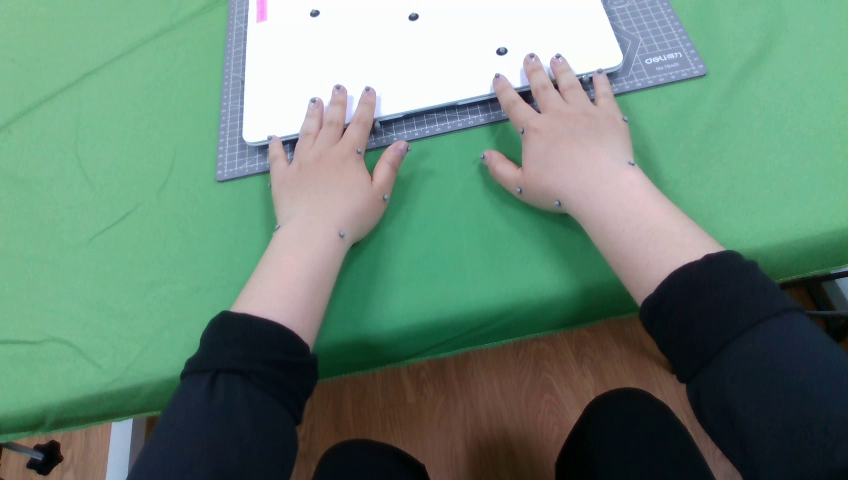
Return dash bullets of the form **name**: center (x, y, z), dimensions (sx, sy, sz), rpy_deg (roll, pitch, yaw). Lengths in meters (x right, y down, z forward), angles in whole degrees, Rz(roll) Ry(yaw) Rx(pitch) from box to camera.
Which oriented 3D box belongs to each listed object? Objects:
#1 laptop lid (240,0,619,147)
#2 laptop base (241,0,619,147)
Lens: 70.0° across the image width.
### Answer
- **laptop lid**: center (-0.012, -0.216, 0.601), dimensions (0.356, 0.013, 0.239), rpy_deg (-9, 59, 5)
- **laptop base**: center (-0.010, -0.211, 0.613), dimensions (0.354, 0.023, 0.233), rpy_deg (-11, 60, 4)
